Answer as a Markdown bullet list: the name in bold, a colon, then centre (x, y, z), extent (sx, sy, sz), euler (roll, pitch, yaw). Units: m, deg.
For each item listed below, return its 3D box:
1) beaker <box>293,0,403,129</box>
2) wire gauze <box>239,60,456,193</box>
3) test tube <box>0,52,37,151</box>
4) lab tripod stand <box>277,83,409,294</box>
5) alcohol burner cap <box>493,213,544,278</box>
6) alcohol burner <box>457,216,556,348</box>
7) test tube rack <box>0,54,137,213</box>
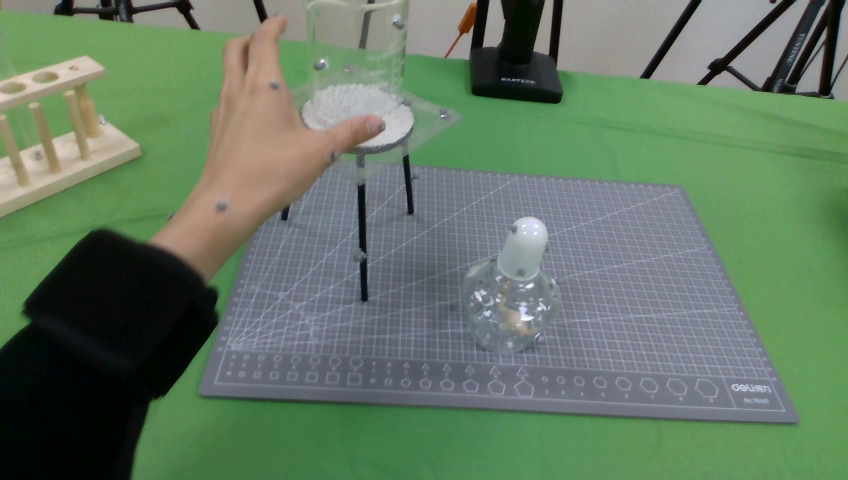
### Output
- **beaker**: centre (-0.055, -0.138, 0.438), extent (0.084, 0.101, 0.073), euler (-31, 56, -32)
- **wire gauze**: centre (-0.057, -0.097, 0.467), extent (0.124, 0.011, 0.121), euler (35, 51, 21)
- **test tube**: centre (-0.373, -0.145, 0.531), extent (0.017, 0.151, 0.017), euler (2, 40, -2)
- **lab tripod stand**: centre (-0.061, -0.050, 0.511), extent (0.148, 0.132, 0.147), euler (6, 43, -5)
- **alcohol burner cap**: centre (0.070, 0.002, 0.438), extent (0.034, 0.048, 0.033), euler (4, 47, -4)
- **alcohol burner**: centre (0.066, 0.027, 0.463), extent (0.078, 0.120, 0.077), euler (6, 41, -5)
- **test tube rack**: centre (-0.389, -0.077, 0.529), extent (0.066, 0.086, 0.242), euler (32, 47, 24)
